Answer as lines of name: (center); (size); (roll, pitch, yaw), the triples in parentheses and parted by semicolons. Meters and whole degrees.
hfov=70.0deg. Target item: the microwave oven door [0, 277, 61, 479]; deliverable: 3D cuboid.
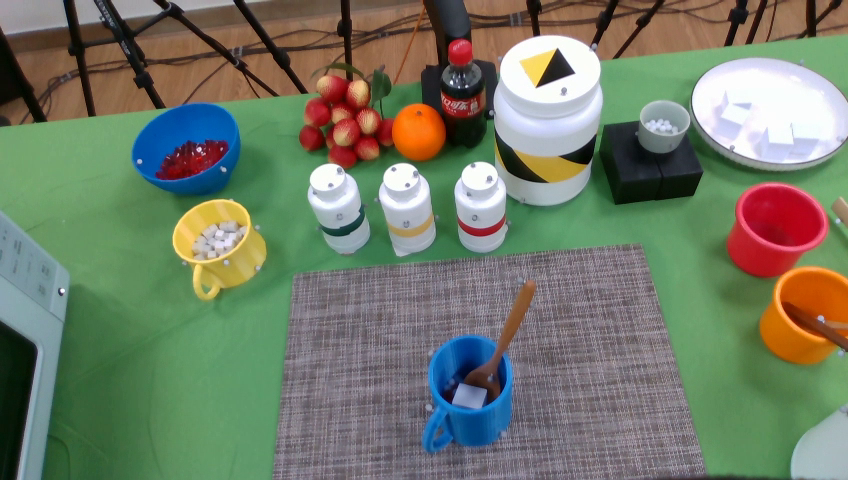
microwave oven door: (-0.449, 0.180, 0.568); (0.039, 0.246, 0.352); (-13, 56, -2)

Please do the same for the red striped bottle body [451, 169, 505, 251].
red striped bottle body: (0.067, -0.044, 0.753); (0.063, 0.121, 0.062); (-5, 55, 7)

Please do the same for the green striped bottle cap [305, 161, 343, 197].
green striped bottle cap: (-0.121, -0.074, 0.731); (0.044, 0.020, 0.044); (-2, 56, 3)

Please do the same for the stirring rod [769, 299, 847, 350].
stirring rod: (0.403, 0.090, 0.616); (0.014, 0.006, 0.175); (-2, 13, 2)

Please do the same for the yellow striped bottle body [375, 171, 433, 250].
yellow striped bottle body: (-0.025, -0.045, 0.764); (0.063, 0.121, 0.062); (-3, 56, 5)

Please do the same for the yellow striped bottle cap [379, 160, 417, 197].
yellow striped bottle cap: (-0.031, -0.073, 0.721); (0.044, 0.019, 0.044); (-3, 58, 4)

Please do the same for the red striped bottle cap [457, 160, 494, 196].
red striped bottle cap: (0.061, -0.073, 0.710); (0.044, 0.018, 0.044); (-1, 55, 2)

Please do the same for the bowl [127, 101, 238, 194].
bowl: (-0.334, -0.120, 0.875); (0.151, 0.077, 0.150); (-3, 56, 4)

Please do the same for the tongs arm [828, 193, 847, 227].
tongs arm: (0.581, 0.093, 0.653); (0.051, 0.027, 0.380); (-15, 57, -6)

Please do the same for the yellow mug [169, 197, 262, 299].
yellow mug: (-0.273, 0.015, 0.785); (0.100, 0.064, 0.130); (4, 58, 8)

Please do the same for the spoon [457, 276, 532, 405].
spoon: (0.071, 0.104, 0.590); (0.041, 0.195, 0.021); (28, 46, 11)

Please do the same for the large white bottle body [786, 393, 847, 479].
large white bottle body: (0.414, 0.187, 0.519); (0.130, 0.186, 0.129); (-3, 56, 5)

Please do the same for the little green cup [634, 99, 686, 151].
little green cup: (0.302, -0.147, 0.782); (0.061, 0.039, 0.061); (-2, 54, 3)

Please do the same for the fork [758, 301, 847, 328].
fork: (0.433, 0.087, 0.606); (0.028, 0.019, 0.206); (-39, 17, -17)

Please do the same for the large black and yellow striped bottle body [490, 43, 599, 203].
large black and yellow striped bottle body: (0.150, -0.150, 0.775); (0.131, 0.186, 0.129); (-3, 56, 5)

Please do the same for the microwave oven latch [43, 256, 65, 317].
microwave oven latch: (-0.481, 0.062, 0.774); (0.030, 0.030, 0.078); (-13, 57, -3)

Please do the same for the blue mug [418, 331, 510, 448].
blue mug: (0.036, 0.165, 0.622); (0.081, 0.107, 0.116); (34, 66, 26)

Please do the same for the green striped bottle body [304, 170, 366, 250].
green striped bottle body: (-0.114, -0.044, 0.774); (0.063, 0.120, 0.062); (-3, 56, 5)

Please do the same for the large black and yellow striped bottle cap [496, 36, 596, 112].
large black and yellow striped bottle cap: (0.141, -0.195, 0.704); (0.115, 0.019, 0.114); (-3, 55, 5)

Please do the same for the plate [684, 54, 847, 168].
plate: (0.468, -0.177, 0.844); (0.209, 0.038, 0.207); (-3, 57, 5)

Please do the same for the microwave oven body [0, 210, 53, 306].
microwave oven body: (-0.600, 0.182, 0.591); (0.326, 0.262, 0.437); (-13, 57, -3)
